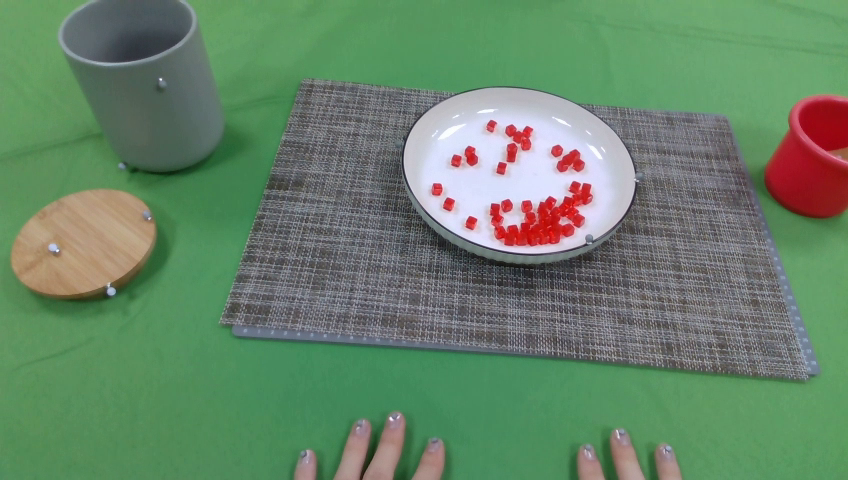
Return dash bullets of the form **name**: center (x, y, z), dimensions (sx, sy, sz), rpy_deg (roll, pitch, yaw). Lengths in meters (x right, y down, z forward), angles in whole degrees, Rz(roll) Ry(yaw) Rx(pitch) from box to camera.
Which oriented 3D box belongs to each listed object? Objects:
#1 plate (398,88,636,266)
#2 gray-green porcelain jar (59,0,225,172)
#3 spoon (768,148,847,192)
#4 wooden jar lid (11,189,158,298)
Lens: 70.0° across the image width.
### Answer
- **plate**: center (0.080, -0.057, 0.545), dimensions (0.208, 0.039, 0.205), rpy_deg (2, 52, -2)
- **gray-green porcelain jar**: center (-0.236, -0.132, 0.530), dimensions (0.106, 0.127, 0.105), rpy_deg (2, 52, -2)
- **spoon**: center (0.406, -0.086, 0.527), dimensions (0.193, 0.022, 0.041), rpy_deg (-25, 42, 35)
- **wooden jar lid**: center (-0.271, 0.004, 0.491), dimensions (0.108, 0.021, 0.107), rpy_deg (3, 53, -3)
